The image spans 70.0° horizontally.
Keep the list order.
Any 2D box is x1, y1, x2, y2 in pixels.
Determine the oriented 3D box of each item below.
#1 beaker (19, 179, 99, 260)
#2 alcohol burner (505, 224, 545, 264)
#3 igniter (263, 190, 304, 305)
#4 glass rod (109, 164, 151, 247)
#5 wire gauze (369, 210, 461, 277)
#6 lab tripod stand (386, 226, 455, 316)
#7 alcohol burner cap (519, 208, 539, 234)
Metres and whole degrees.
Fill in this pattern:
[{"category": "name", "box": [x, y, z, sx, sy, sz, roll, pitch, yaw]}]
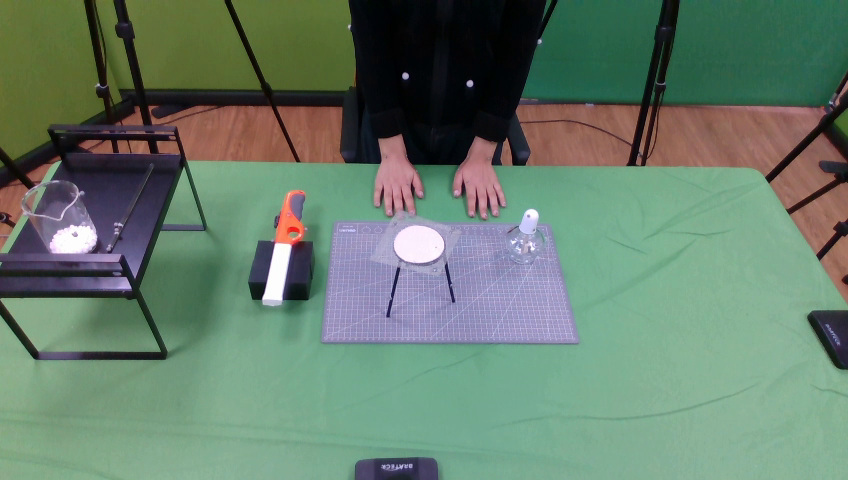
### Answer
[{"category": "beaker", "box": [-0.522, -0.024, 0.878, 0.074, 0.101, 0.083, -26, 54, -25]}, {"category": "alcohol burner", "box": [0.195, -0.012, 1.158, 0.078, 0.120, 0.077, 1, 44, -1]}, {"category": "igniter", "box": [-0.255, 0.004, 1.107, 0.057, 0.025, 0.274, 6, 47, -7]}, {"category": "glass rod", "box": [-0.473, -0.061, 0.979, 0.008, 0.008, 0.198, 1, 46, -3]}, {"category": "wire gauze", "box": [-0.013, 0.005, 1.017, 0.121, 0.011, 0.124, 17, 49, 12]}, {"category": "lab tripod stand", "box": [-0.013, 0.054, 1.064, 0.148, 0.132, 0.147, 2, 48, -2]}, {"category": "alcohol burner cap", "box": [0.199, -0.037, 1.132, 0.034, 0.048, 0.033, 4, 44, -4]}]
